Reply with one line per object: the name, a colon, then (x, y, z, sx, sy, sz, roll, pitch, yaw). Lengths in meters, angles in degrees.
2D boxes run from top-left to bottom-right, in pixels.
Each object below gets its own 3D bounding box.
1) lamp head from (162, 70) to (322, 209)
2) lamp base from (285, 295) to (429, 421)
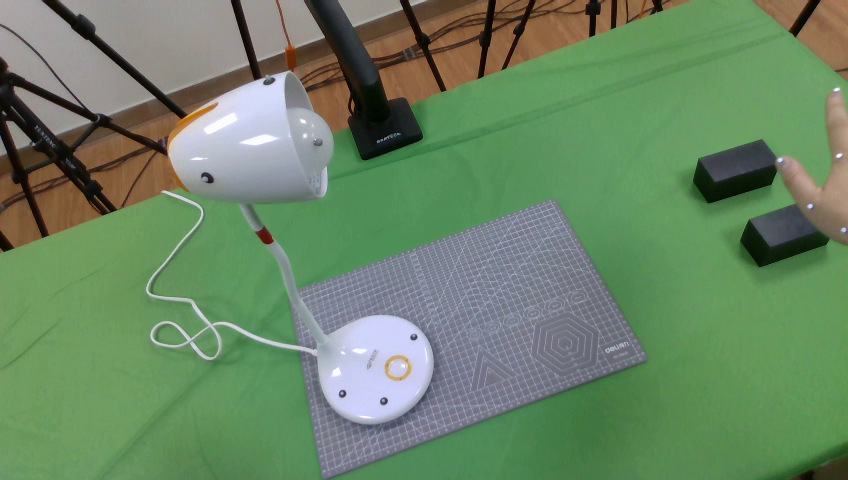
lamp head: (-0.160, -0.078, 0.534, 0.123, 0.113, 0.111, -16, 54, 8)
lamp base: (-0.098, 0.129, 0.781, 0.178, 0.182, 0.159, 1, 56, 17)
